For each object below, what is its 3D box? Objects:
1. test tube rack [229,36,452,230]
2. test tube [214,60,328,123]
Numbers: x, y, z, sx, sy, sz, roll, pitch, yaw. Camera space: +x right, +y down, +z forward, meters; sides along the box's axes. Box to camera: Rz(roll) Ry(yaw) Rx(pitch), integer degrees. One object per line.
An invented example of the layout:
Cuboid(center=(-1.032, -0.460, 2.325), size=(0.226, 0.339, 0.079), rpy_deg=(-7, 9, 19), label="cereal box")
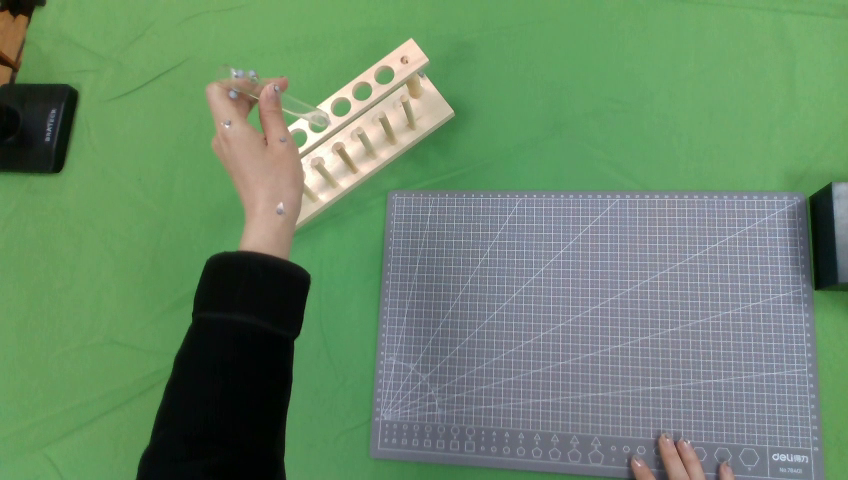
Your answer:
Cuboid(center=(-0.089, -0.116, 0.686), size=(0.242, 0.085, 0.066), rpy_deg=(-36, 75, 0), label="test tube rack")
Cuboid(center=(-0.126, -0.125, 0.526), size=(0.017, 0.151, 0.017), rpy_deg=(-1, 87, 21), label="test tube")
